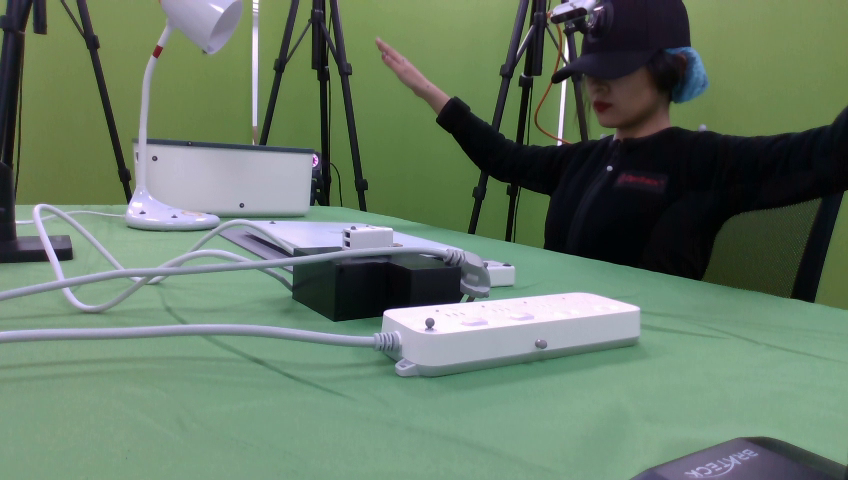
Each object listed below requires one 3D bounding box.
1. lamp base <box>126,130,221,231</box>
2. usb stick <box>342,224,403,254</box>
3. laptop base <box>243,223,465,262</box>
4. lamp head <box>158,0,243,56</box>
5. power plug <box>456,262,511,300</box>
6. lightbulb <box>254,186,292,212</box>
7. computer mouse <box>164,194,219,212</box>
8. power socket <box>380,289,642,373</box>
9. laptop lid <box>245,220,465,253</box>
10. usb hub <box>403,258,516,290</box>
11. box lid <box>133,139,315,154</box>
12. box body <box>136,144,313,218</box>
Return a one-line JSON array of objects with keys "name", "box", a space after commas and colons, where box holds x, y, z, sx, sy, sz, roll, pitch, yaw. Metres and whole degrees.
[{"name": "lamp base", "box": [-0.469, -0.112, 1.108, 0.179, 0.180, 0.160, 0, 7, 3]}, {"name": "usb stick", "box": [-0.047, -0.001, 0.567, 0.059, 0.027, 0.021, 0, 5, -32]}, {"name": "laptop base", "box": [-0.126, 0.003, 0.946, 0.237, 0.023, 0.352, 2, 6, -31]}, {"name": "lamp head", "box": [-0.399, -0.397, 1.057, 0.123, 0.112, 0.112, 27, 5, -7]}, {"name": "power plug", "box": [0.051, 0.050, 0.543, 0.035, 0.052, 0.072, 7, 37, -19]}, {"name": "lightbulb", "box": [-0.370, -0.094, 1.492, 0.059, 0.059, 0.108, 8, -11, 39]}, {"name": "computer mouse", "box": [-0.532, -0.084, 1.387, 0.118, 0.041, 0.062, 2, 3, -31]}, {"name": "power socket", "box": [0.072, 0.064, 0.461, 0.228, 0.032, 0.072, -2, 8, -30]}, {"name": "laptop lid", "box": [-0.124, -0.009, 0.945, 0.243, 0.013, 0.355, 1, 7, -29]}, {"name": "usb hub", "box": [0.042, 0.038, 0.690, 0.126, 0.025, 0.049, -2, 10, -29]}, {"name": "box lid", "box": [-0.466, -0.215, 1.407, 0.373, 0.015, 0.262, -1, 8, -31]}, {"name": "box body", "box": [-0.467, -0.141, 1.417, 0.366, 0.160, 0.253, -2, 8, -31]}]
